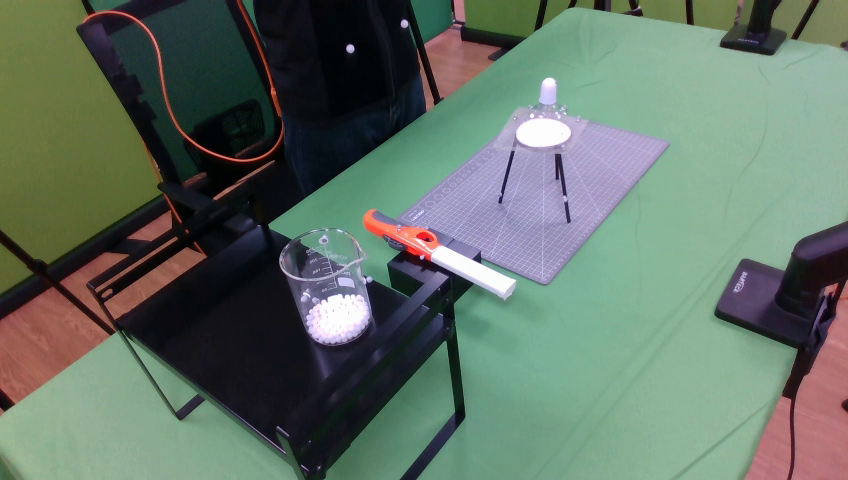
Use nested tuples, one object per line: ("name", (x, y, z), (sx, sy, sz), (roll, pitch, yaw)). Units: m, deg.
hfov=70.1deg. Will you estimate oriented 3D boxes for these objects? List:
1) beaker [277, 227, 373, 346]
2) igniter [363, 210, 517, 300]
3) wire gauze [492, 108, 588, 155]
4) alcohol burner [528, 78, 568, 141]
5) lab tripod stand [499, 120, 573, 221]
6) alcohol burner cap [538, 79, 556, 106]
("beaker", (-0.089, 0.048, 0.593), (0.084, 0.101, 0.073), (-3, 41, 5))
("igniter", (0.012, 0.015, 0.880), (0.274, 0.025, 0.057), (26, 48, 30))
("wire gauze", (0.185, -0.170, 0.953), (0.121, 0.011, 0.125), (13, 44, 22))
("alcohol burner", (0.238, -0.253, 1.163), (0.078, 0.119, 0.077), (-6, 40, 6))
("lab tripod stand", (0.198, -0.117, 0.992), (0.148, 0.132, 0.147), (-3, 40, 3))
("alcohol burner cap", (0.234, -0.281, 1.141), (0.034, 0.048, 0.033), (-1, 42, 2))
